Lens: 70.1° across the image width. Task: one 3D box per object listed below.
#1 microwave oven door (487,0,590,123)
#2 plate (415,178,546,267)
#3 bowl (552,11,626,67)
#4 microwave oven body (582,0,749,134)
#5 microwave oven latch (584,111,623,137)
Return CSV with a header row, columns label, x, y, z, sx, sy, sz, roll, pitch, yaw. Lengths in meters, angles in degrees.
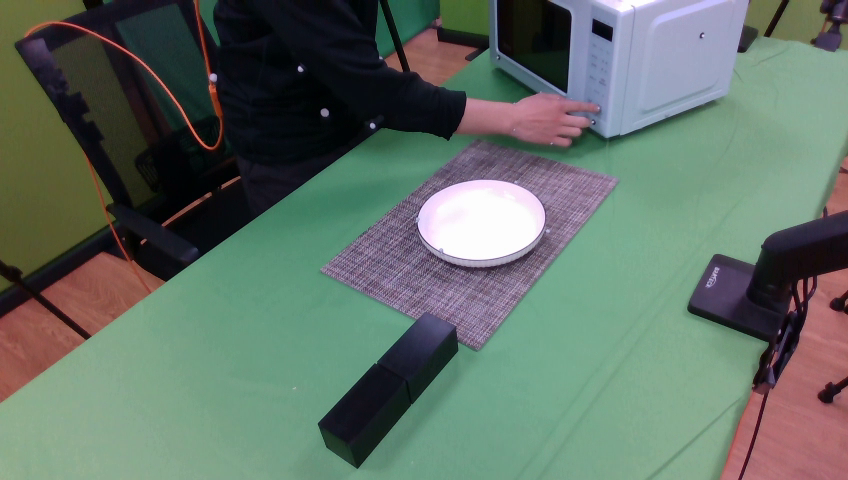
label,x,y,z,sx,sy,sz,roll,pitch,yaw
microwave oven door,0.232,-0.420,1.231,0.039,0.245,0.352,-22,43,-16
plate,0.091,-0.026,0.970,0.207,0.039,0.206,-4,41,4
bowl,0.343,-0.418,1.278,0.151,0.077,0.150,-1,41,1
microwave oven body,0.382,-0.444,1.246,0.327,0.261,0.437,-22,42,-16
microwave oven latch,0.337,-0.222,1.142,0.030,0.029,0.078,-21,42,-14
